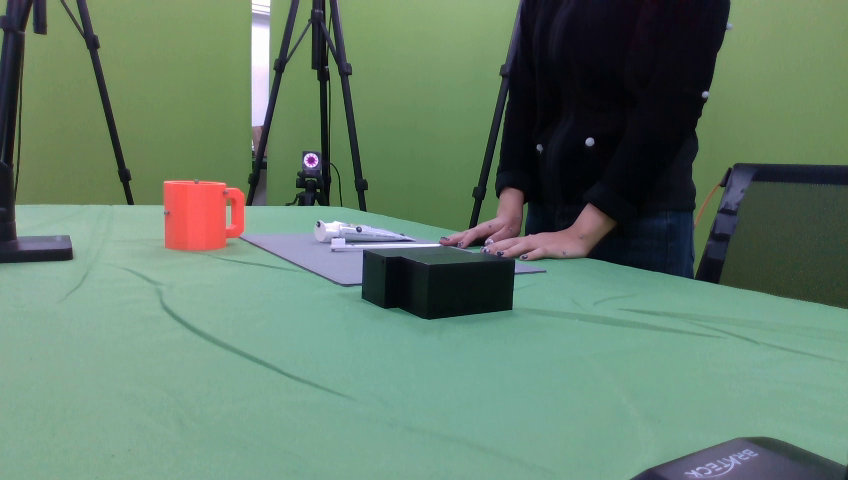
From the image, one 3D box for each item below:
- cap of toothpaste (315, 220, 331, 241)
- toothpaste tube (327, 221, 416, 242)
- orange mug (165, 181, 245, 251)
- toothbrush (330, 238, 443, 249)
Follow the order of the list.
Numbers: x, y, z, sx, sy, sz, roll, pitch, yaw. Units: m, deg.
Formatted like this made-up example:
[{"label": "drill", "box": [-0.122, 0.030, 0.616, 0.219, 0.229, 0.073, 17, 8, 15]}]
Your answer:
[{"label": "cap of toothpaste", "box": [-0.165, -0.016, 0.982, 0.011, 0.037, 0.037, -8, 12, -43]}, {"label": "toothpaste tube", "box": [-0.095, -0.012, 1.026, 0.166, 0.034, 0.055, 2, 13, -33]}, {"label": "orange mug", "box": [-0.326, -0.040, 0.911, 0.083, 0.101, 0.127, 8, 14, 37]}, {"label": "toothbrush", "box": [-0.054, 0.006, 0.927, 0.183, 0.016, 0.014, 1, -8, -23]}]
